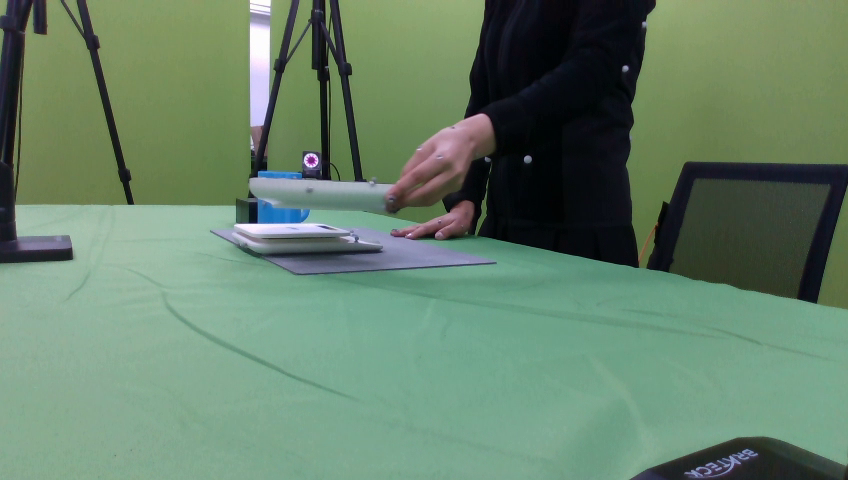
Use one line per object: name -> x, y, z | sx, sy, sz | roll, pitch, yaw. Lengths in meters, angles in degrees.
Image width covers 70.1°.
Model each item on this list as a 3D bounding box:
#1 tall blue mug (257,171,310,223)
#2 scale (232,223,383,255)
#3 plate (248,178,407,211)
tall blue mug -> -0.258, -0.070, 1.107 | 0.078, 0.108, 0.107 | 2, 7, 5
scale -> -0.177, -0.004, 0.920 | 0.202, 0.031, 0.148 | -1, 9, -30
plate -> -0.127, -0.059, 0.806 | 0.209, 0.038, 0.209 | 1, 4, 0
